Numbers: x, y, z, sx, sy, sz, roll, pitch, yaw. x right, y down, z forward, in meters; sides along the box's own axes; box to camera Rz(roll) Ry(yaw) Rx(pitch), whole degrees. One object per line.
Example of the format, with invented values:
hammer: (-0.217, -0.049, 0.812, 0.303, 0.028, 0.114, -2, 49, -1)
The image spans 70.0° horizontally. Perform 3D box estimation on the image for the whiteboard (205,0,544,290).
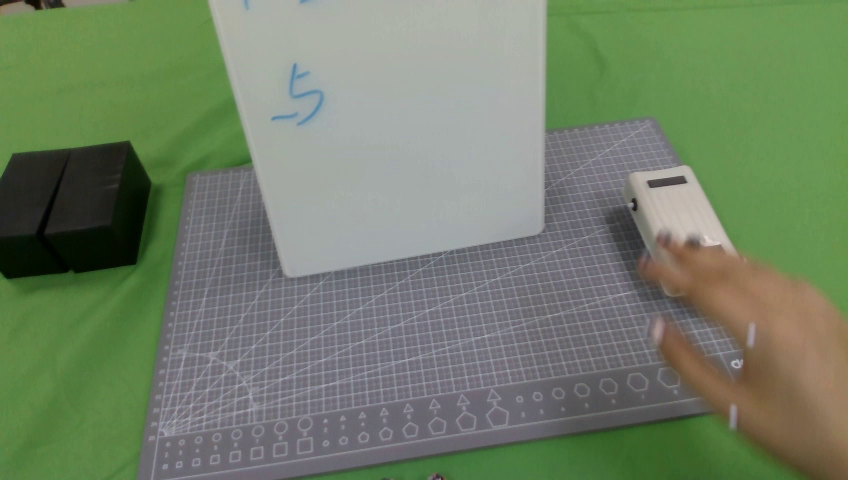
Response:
whiteboard: (-0.032, -0.142, 0.471, 0.217, 0.308, 0.142, -9, 31, -4)

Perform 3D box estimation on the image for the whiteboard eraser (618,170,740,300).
whiteboard eraser: (0.197, -0.004, 0.476, 0.055, 0.042, 0.111, -6, 50, -3)
